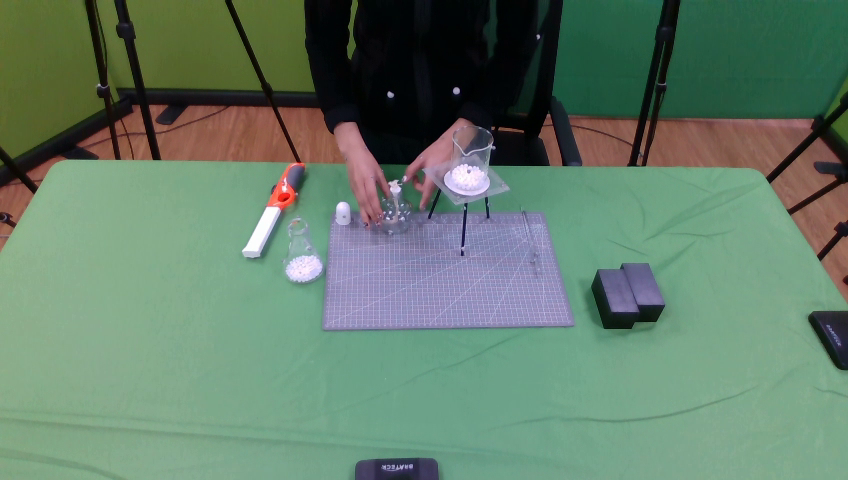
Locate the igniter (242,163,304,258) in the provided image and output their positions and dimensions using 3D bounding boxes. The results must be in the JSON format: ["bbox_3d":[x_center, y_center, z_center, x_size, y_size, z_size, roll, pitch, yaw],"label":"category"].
[{"bbox_3d":[-0.305,-0.069,1.239,0.057,0.025,0.275,2,45,12],"label":"igniter"}]

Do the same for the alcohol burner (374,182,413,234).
[{"bbox_3d":[-0.059,-0.070,1.196,0.078,0.119,0.077,3,47,-3],"label":"alcohol burner"}]

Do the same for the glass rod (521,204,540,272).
[{"bbox_3d":[0.215,-0.008,1.230,0.008,0.008,0.198,0,43,-3],"label":"glass rod"}]

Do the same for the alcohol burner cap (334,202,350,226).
[{"bbox_3d":[-0.166,-0.055,1.223,0.034,0.048,0.033,2,45,-2],"label":"alcohol burner cap"}]

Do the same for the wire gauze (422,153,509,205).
[{"bbox_3d":[0.078,-0.115,1.144,0.125,0.011,0.120,-21,49,-20],"label":"wire gauze"}]

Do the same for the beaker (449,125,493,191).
[{"bbox_3d":[0.083,-0.146,1.108,0.074,0.101,0.083,15,47,11],"label":"beaker"}]

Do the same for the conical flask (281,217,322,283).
[{"bbox_3d":[-0.225,0.016,1.097,0.075,0.122,0.075,3,46,-2],"label":"conical flask"}]

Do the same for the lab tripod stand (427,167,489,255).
[{"bbox_3d":[0.076,-0.068,1.191,0.148,0.132,0.147,2,44,-2],"label":"lab tripod stand"}]
